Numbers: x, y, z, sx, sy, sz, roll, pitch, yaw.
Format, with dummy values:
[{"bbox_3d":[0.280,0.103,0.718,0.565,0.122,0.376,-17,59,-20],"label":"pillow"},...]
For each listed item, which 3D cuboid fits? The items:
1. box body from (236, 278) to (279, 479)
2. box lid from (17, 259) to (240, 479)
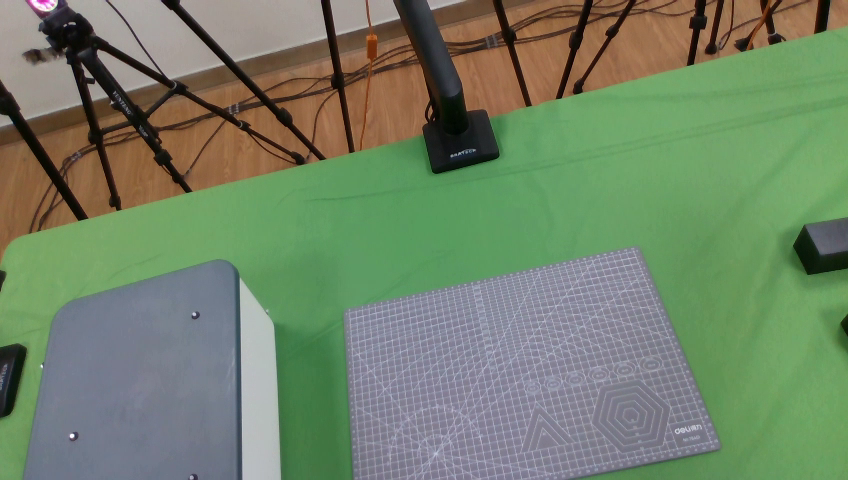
[{"bbox_3d":[-0.332,0.241,0.776,0.254,0.162,0.360,-15,55,2],"label":"box body"},{"bbox_3d":[-0.345,0.198,0.716,0.263,0.015,0.367,-15,56,2],"label":"box lid"}]
